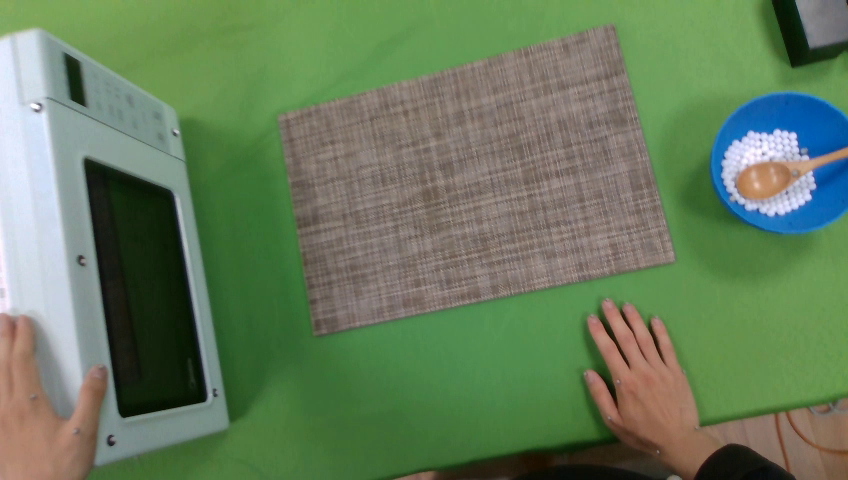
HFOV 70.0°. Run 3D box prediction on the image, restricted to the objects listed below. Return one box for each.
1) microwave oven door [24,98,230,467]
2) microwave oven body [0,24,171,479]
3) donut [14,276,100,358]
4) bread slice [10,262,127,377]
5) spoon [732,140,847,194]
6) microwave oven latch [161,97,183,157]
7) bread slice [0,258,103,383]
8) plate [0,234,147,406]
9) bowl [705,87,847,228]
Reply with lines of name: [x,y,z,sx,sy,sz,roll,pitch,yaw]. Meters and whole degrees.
microwave oven door: [-0.321,0.048,0.678,0.039,0.245,0.354,-15,80,9]
microwave oven body: [-0.469,0.044,0.712,0.326,0.261,0.440,-14,81,8]
donut: [-0.438,0.092,0.722,0.099,0.048,0.098,-1,80,6]
bread slice: [-0.443,0.091,0.743,0.133,0.018,0.107,27,81,15]
spoon: [0.422,-0.091,0.623,0.193,0.022,0.041,-20,73,30]
microwave oven latch: [-0.347,-0.149,0.811,0.030,0.029,0.079,-14,81,8]
bread slice: [-0.448,0.087,0.698,0.131,0.019,0.105,35,92,10]
plate: [-0.435,0.098,0.750,0.207,0.039,0.207,-1,82,8]
bowl: [0.379,-0.081,0.663,0.151,0.077,0.151,-1,82,10]
